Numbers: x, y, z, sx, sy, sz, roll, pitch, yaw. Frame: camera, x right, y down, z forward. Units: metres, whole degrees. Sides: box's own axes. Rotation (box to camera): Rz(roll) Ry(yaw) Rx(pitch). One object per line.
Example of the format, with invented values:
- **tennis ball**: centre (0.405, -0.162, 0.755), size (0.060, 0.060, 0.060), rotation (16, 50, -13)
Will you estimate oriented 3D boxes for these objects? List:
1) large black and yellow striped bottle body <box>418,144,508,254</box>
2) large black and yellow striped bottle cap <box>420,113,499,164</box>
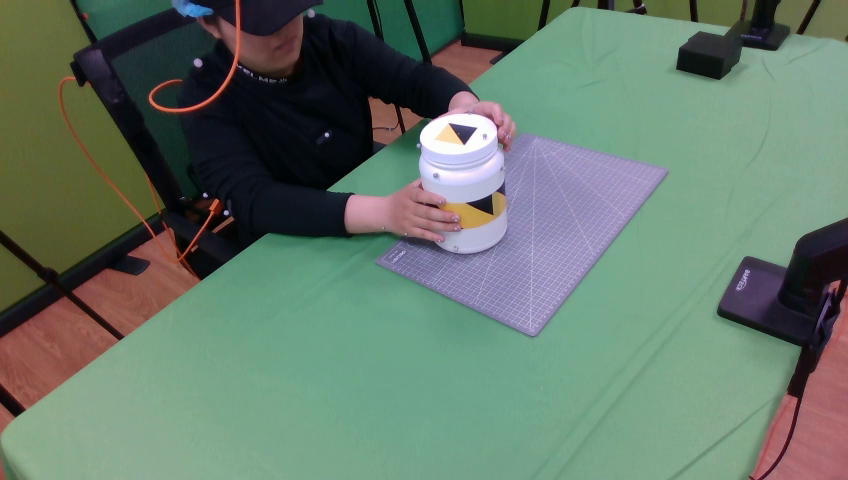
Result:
- **large black and yellow striped bottle body**: centre (0.062, -0.085, 0.941), size (0.131, 0.185, 0.130), rotation (-5, 40, 5)
- **large black and yellow striped bottle cap**: centre (0.052, -0.150, 0.885), size (0.115, 0.019, 0.114), rotation (-6, 40, 6)
